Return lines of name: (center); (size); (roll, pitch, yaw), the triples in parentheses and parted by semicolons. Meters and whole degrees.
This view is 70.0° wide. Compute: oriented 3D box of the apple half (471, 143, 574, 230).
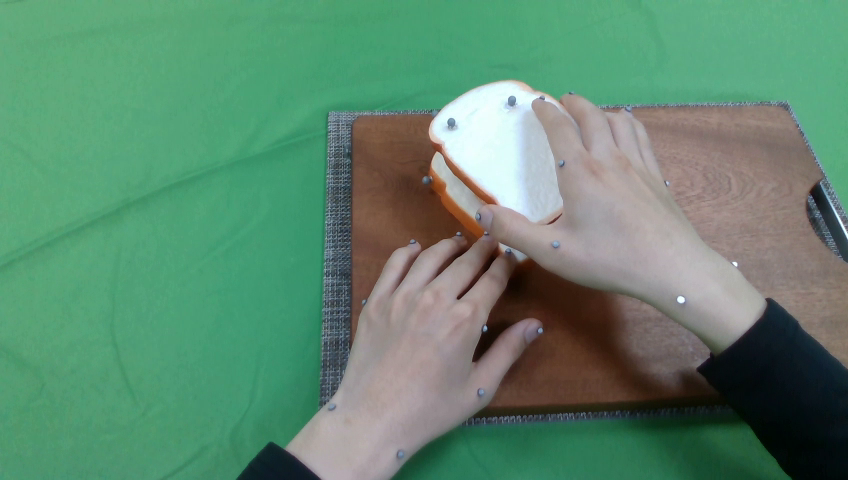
apple half: (0.077, -0.047, 0.465); (0.081, 0.033, 0.080); (2, 60, -3)

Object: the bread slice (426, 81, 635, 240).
bread slice: (0.067, -0.066, 0.448); (0.107, 0.018, 0.133); (-37, 62, -21)

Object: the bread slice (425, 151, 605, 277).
bread slice: (0.064, -0.042, 0.487); (0.105, 0.019, 0.130); (-33, 65, -23)
